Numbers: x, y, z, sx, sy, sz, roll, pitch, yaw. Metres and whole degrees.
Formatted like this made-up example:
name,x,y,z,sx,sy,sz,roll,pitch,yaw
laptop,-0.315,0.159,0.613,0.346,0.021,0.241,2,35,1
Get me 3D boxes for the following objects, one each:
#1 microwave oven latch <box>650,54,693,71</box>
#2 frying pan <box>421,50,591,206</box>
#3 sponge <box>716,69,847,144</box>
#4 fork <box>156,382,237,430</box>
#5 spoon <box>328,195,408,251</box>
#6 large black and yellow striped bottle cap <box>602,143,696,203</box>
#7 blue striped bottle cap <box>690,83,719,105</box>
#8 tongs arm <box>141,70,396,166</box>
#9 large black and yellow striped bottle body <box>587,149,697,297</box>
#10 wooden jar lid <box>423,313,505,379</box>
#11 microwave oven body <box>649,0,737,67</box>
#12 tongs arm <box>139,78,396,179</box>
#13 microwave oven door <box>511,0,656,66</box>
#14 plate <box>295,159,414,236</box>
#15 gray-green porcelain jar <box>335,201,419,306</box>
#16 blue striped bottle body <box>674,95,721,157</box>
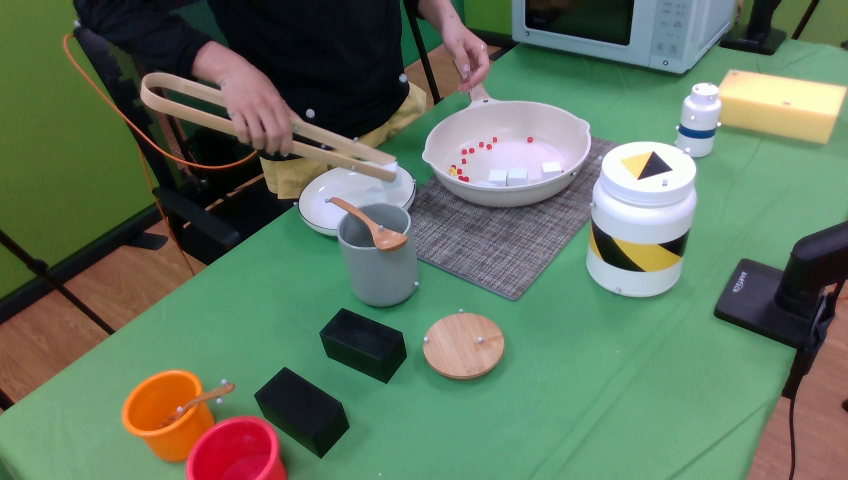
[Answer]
name,x,y,z,sx,sy,sz,roll,pitch,yaw
microwave oven latch,0.531,-0.386,1.301,0.078,0.029,0.030,26,51,33
frying pan,0.127,-0.233,1.154,0.307,0.103,0.484,-11,49,-5
sponge,0.663,-0.256,1.142,0.205,0.061,0.118,19,47,28
fork,-0.262,0.189,0.690,0.206,0.018,0.028,-34,9,42
spoon,-0.083,-0.029,0.829,0.042,0.022,0.192,-31,42,-22
large black and yellow striped bottle cap,0.289,-0.088,0.779,0.115,0.019,0.114,-5,40,4
blue striped bottle cap,0.481,-0.251,1.038,0.044,0.021,0.044,-5,40,5
tongs arm,-0.226,-0.176,0.925,0.387,0.026,0.050,20,48,-15
large black and yellow striped bottle body,0.298,-0.026,0.835,0.131,0.185,0.130,-4,41,4
wooden jar lid,0.053,0.142,0.800,0.108,0.021,0.108,-5,39,4
microwave oven body,0.475,-0.602,1.411,0.438,0.261,0.327,23,50,32
tongs arm,-0.226,-0.158,0.910,0.390,0.027,0.028,16,52,-18
microwave oven door,0.350,-0.539,1.349,0.353,0.245,0.039,24,50,31
plate,-0.118,-0.070,1.055,0.207,0.039,0.206,-5,39,5
gray-green porcelain jar,-0.064,0.024,0.872,0.106,0.127,0.105,-4,41,4
blue striped bottle body,0.486,-0.213,1.071,0.063,0.121,0.063,-4,41,4
